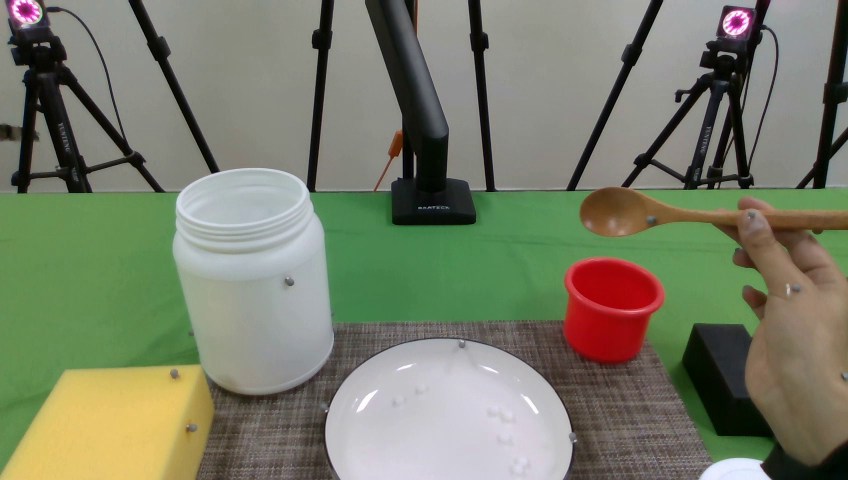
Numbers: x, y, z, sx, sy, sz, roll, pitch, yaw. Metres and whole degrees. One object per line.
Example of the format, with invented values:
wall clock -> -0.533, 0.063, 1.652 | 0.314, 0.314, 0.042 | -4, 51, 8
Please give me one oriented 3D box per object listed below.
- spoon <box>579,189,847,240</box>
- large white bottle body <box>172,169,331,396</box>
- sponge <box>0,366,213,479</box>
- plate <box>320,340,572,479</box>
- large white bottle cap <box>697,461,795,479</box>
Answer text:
spoon -> 0.205, -0.015, 0.440 | 0.192, 0.042, 0.022 | 6, 11, 42
large white bottle body -> -0.158, 0.038, 0.569 | 0.130, 0.186, 0.129 | 1, 33, 0
sponge -> -0.244, 0.187, 0.449 | 0.118, 0.061, 0.205 | -2, 32, -3
plate -> 0.018, 0.167, 0.516 | 0.209, 0.038, 0.207 | 2, 32, -1
large white bottle cap -> 0.263, 0.222, 0.465 | 0.115, 0.018, 0.114 | 4, 33, -2
